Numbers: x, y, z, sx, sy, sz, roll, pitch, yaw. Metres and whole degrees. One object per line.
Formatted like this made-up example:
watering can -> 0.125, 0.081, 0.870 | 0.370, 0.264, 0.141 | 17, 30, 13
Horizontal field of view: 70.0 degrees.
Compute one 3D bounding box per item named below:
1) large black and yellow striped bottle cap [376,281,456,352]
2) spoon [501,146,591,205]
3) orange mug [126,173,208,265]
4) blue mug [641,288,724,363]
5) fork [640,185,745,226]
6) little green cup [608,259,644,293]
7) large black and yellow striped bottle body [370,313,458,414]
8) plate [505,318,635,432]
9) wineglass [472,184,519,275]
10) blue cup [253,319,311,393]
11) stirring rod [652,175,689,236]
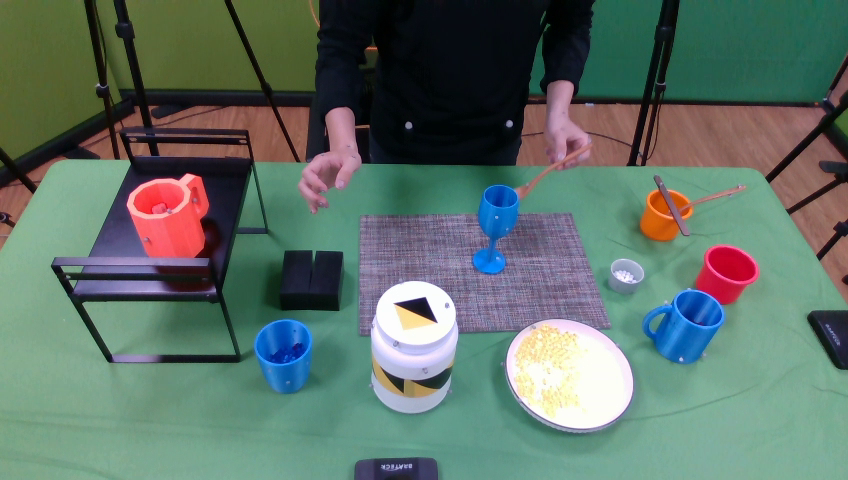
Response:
large black and yellow striped bottle cap -> -0.011, 0.107, 0.863 | 0.115, 0.019, 0.114 | 2, 47, -2
spoon -> 0.230, -0.122, 1.144 | 0.194, 0.022, 0.041 | -36, 23, 21
orange mug -> -0.371, -0.039, 0.902 | 0.083, 0.101, 0.126 | 18, 52, 14
blue mug -> 0.432, 0.144, 1.033 | 0.116, 0.106, 0.082 | 8, 46, 4
fork -> 0.534, -0.069, 1.215 | 0.207, 0.019, 0.028 | -26, 27, 33
little green cup -> 0.379, 0.070, 1.147 | 0.061, 0.039, 0.061 | 3, 45, -3
large black and yellow striped bottle body -> -0.017, 0.165, 0.924 | 0.131, 0.185, 0.130 | 2, 46, -2
plate -> 0.235, 0.221, 0.991 | 0.209, 0.038, 0.208 | 2, 45, -2
wineglass -> 0.129, -0.018, 1.113 | 0.074, 0.173, 0.073 | 2, 46, -2
blue cup -> -0.217, 0.187, 0.943 | 0.093, 0.101, 0.092 | 3, 45, -3
stirring rod -> 0.491, -0.072, 1.211 | 0.014, 0.006, 0.175 | -1, 47, -6
